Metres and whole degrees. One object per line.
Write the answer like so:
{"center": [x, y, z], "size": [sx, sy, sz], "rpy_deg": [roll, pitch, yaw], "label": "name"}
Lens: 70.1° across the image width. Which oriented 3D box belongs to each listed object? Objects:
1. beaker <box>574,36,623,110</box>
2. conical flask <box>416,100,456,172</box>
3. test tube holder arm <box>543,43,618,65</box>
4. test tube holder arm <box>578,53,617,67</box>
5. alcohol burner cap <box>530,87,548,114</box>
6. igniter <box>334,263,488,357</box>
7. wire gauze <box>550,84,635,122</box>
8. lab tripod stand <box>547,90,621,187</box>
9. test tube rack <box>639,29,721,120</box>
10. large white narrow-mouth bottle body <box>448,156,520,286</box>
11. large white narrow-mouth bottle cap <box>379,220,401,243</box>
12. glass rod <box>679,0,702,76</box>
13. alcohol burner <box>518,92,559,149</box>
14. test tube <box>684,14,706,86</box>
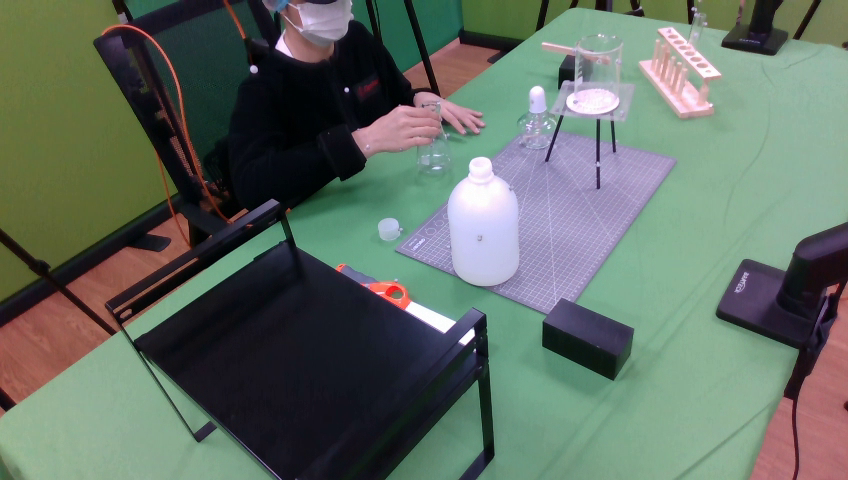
{"center": [0.285, -0.273, 0.990], "size": [0.073, 0.101, 0.084], "rpy_deg": [15, 46, 27], "label": "beaker"}
{"center": [0.018, -0.192, 1.104], "size": [0.075, 0.122, 0.075], "rpy_deg": [-3, 39, 3], "label": "conical flask"}
{"center": [0.345, -0.413, 1.341], "size": [0.177, 0.015, 0.013], "rpy_deg": [25, 50, 32], "label": "test tube holder arm"}
{"center": [0.376, -0.393, 1.314], "size": [0.087, 0.015, 0.010], "rpy_deg": [26, 51, 32], "label": "test tube holder arm"}
{"center": [0.212, -0.262, 1.126], "size": [0.034, 0.048, 0.033], "rpy_deg": [-9, 36, 7], "label": "alcohol burner cap"}
{"center": [-0.030, 0.095, 0.872], "size": [0.274, 0.025, 0.057], "rpy_deg": [23, 60, 31], "label": "igniter"}
{"center": [0.285, -0.234, 1.021], "size": [0.124, 0.011, 0.121], "rpy_deg": [8, 41, 23], "label": "wire gauze"}
{"center": [0.289, -0.184, 1.062], "size": [0.148, 0.132, 0.147], "rpy_deg": [-6, 41, 6], "label": "lab tripod stand"}
{"center": [0.527, -0.351, 1.262], "size": [0.067, 0.085, 0.241], "rpy_deg": [-8, 40, 1], "label": "test tube rack"}
{"center": [0.086, -0.032, 0.869], "size": [0.102, 0.195, 0.101], "rpy_deg": [-4, 40, 4], "label": "large white narrow-mouth bottle body"}
{"center": [-0.057, -0.015, 1.011], "size": [0.038, 0.024, 0.037], "rpy_deg": [-4, 40, 4], "label": "large white narrow-mouth bottle cap"}
{"center": [0.543, -0.417, 1.233], "size": [0.008, 0.200, 0.008], "rpy_deg": [1, 39, 0], "label": "glass rod"}
{"center": [0.218, -0.235, 1.149], "size": [0.078, 0.119, 0.077], "rpy_deg": [-5, 43, 5], "label": "alcohol burner"}
{"center": [0.540, -0.378, 1.215], "size": [0.017, 0.151, 0.017], "rpy_deg": [-2, 44, 3], "label": "test tube"}
